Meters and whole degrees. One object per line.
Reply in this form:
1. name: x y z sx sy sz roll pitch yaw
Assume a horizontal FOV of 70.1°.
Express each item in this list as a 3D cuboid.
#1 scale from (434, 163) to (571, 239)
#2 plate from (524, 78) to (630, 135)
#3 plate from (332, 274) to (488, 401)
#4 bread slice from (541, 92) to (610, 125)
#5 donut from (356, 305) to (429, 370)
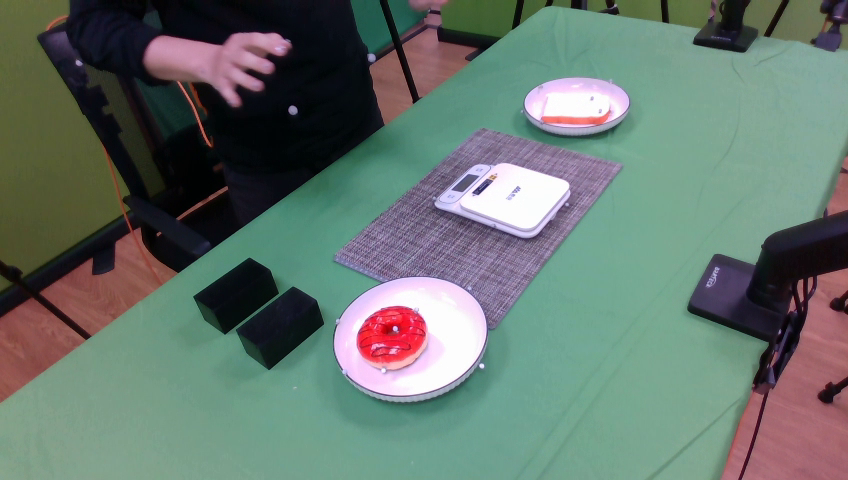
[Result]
1. scale: 0.132 -0.075 1.025 0.199 0.032 0.149 22 48 30
2. plate: 0.307 -0.265 1.223 0.209 0.038 0.208 -4 40 4
3. plate: -0.017 0.130 0.808 0.207 0.039 0.206 -4 41 4
4. bread slice: 0.310 -0.268 1.227 0.131 0.019 0.105 7 43 14
5. donut: -0.041 0.127 0.798 0.099 0.048 0.098 -7 40 6
